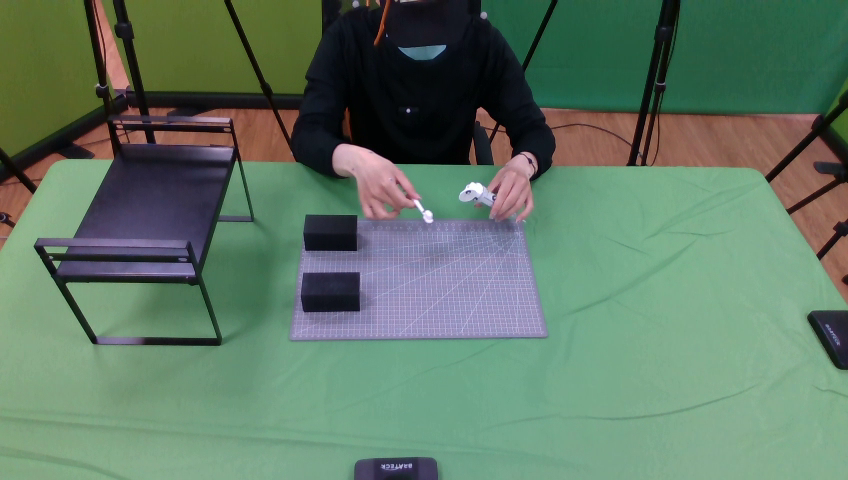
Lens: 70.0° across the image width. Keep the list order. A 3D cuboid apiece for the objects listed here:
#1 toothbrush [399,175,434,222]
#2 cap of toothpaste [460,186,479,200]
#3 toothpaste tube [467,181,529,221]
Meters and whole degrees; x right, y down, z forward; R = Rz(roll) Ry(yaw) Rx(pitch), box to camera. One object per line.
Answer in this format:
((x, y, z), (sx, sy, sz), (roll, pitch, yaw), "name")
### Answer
((-0.016, -0.083, 1.142), (0.014, 0.017, 0.180), (-13, 35, -15), "toothbrush")
((0.082, -0.087, 1.109), (0.037, 0.037, 0.011), (-11, 59, -14), "cap of toothpaste")
((0.141, -0.075, 1.178), (0.166, 0.034, 0.054), (22, 18, -41), "toothpaste tube")
